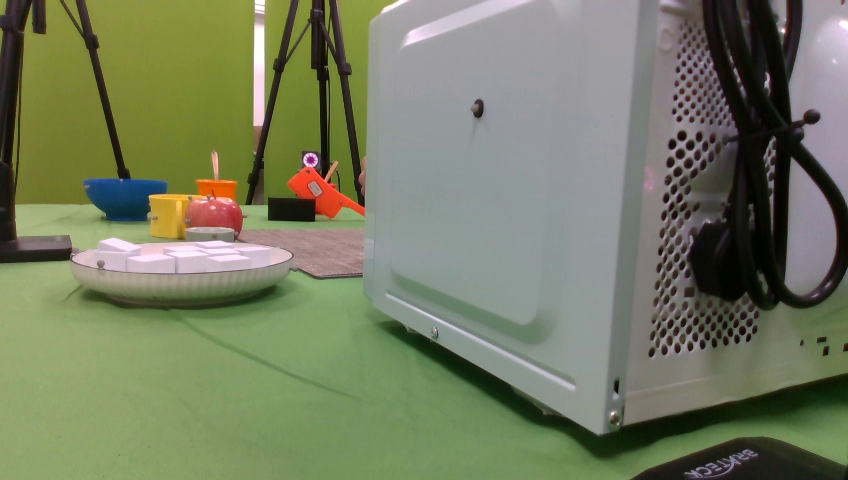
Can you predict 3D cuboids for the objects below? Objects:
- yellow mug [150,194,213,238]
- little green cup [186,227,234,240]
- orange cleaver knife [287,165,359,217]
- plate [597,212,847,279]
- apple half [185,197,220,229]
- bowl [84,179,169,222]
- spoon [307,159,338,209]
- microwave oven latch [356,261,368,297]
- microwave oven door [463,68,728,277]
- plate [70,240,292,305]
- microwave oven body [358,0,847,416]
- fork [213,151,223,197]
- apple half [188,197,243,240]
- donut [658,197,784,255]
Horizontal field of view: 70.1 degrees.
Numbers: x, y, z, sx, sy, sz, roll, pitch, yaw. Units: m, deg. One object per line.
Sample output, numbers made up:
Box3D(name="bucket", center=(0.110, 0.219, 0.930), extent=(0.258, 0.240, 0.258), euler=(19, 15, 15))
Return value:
Box3D(name="yellow mug", center=(-0.401, -0.040, 1.003), extent=(0.100, 0.064, 0.130), euler=(-1, 9, -20))
Box3D(name="little green cup", center=(-0.284, 0.005, 0.805), extent=(0.061, 0.038, 0.061), euler=(2, 8, 0))
Box3D(name="orange cleaver knife", center=(-0.211, -0.093, 1.382), extent=(0.212, 0.077, 0.012), euler=(33, 1, -15))
Box3D(name="plate", center=(0.255, 0.002, 0.519), extent=(0.209, 0.038, 0.209), euler=(2, 7, 0))
Box3D(name="apple half", center=(-0.338, -0.031, 0.927), extent=(0.032, 0.081, 0.081), euler=(12, 12, 31))
Box3D(name="bowl", center=(-0.584, -0.078, 1.194), extent=(0.151, 0.077, 0.151), euler=(3, 8, 0))
Box3D(name="spoon", center=(-0.257, -0.147, 1.567), extent=(0.041, 0.022, 0.193), euler=(2, 50, 19))
Box3D(name="microwave oven latch", center=(-0.020, 0.033, 0.530), extent=(0.079, 0.029, 0.030), euler=(-1, 7, -27))
Box3D(name="microwave oven door", center=(0.205, -0.096, 0.812), extent=(0.354, 0.243, 0.039), euler=(9, 10, 41))
Box3D(name="plate", center=(-0.242, 0.031, 0.618), extent=(0.208, 0.039, 0.207), euler=(2, 8, 0))
Box3D(name="microwave oven body", center=(0.211, -0.047, 0.475), extent=(0.444, 0.260, 0.324), euler=(-1, 7, -28))
Box3D(name="fork", center=(-0.493, -0.143, 1.442), extent=(0.028, 0.018, 0.206), euler=(-3, 52, -19))
Box3D(name="apple half", center=(-0.305, -0.026, 0.907), extent=(0.053, 0.074, 0.081), euler=(12, 8, 31))
Box3D(name="donut", center=(0.252, -0.012, 0.518), extent=(0.099, 0.048, 0.099), euler=(0, 9, 0))
